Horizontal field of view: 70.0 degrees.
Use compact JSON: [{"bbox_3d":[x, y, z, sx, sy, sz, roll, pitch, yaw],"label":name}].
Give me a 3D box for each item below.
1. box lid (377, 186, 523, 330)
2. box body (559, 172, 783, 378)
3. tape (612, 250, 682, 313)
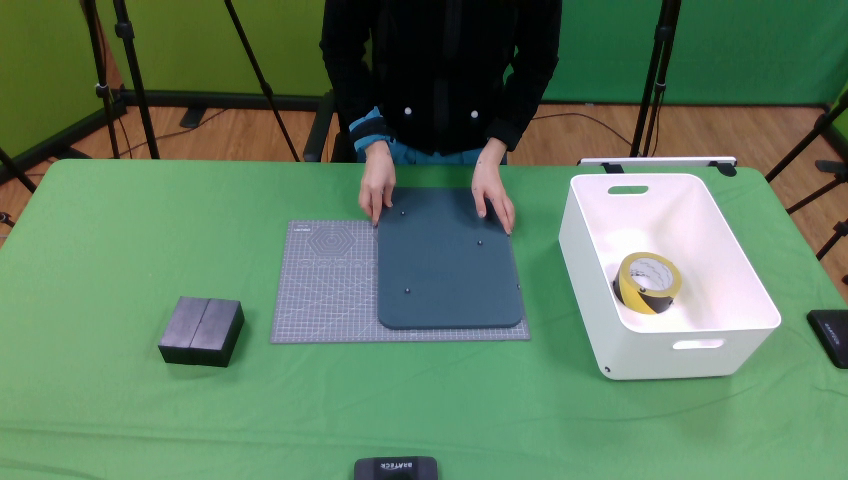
[{"bbox_3d":[0.040,0.022,1.180,0.263,0.015,0.369,-1,47,-4],"label":"box lid"},{"bbox_3d":[0.405,0.057,1.074,0.254,0.161,0.361,-2,46,-5],"label":"box body"},{"bbox_3d":[0.412,0.076,1.123,0.117,0.053,0.116,4,48,-4],"label":"tape"}]
